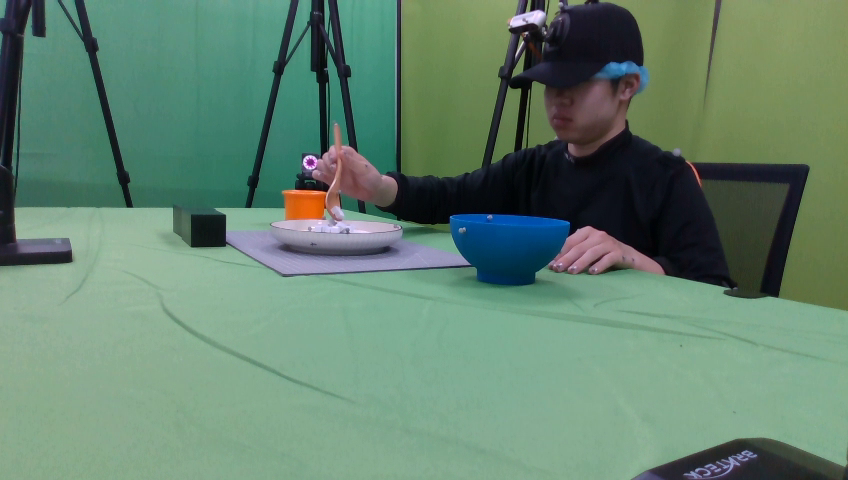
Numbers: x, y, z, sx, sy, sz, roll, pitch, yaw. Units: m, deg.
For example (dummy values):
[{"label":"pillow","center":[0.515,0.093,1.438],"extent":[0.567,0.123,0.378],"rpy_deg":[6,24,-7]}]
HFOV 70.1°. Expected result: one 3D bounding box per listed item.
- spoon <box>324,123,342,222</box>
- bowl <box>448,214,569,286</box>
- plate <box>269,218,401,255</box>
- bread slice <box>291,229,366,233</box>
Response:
[{"label":"spoon","center":[-0.144,-0.115,0.996],"extent":[0.021,0.193,0.042],"rpy_deg":[-12,-30,26]},{"label":"bowl","center":[0.103,0.012,0.757],"extent":[0.151,0.077,0.151],"rpy_deg":[2,7,0]},{"label":"plate","center":[-0.140,-0.006,0.958],"extent":[0.209,0.038,0.209],"rpy_deg":[3,7,0]},{"label":"bread slice","center":[-0.143,-0.003,0.953],"extent":[0.135,0.018,0.106],"rpy_deg":[-1,8,-37]}]
